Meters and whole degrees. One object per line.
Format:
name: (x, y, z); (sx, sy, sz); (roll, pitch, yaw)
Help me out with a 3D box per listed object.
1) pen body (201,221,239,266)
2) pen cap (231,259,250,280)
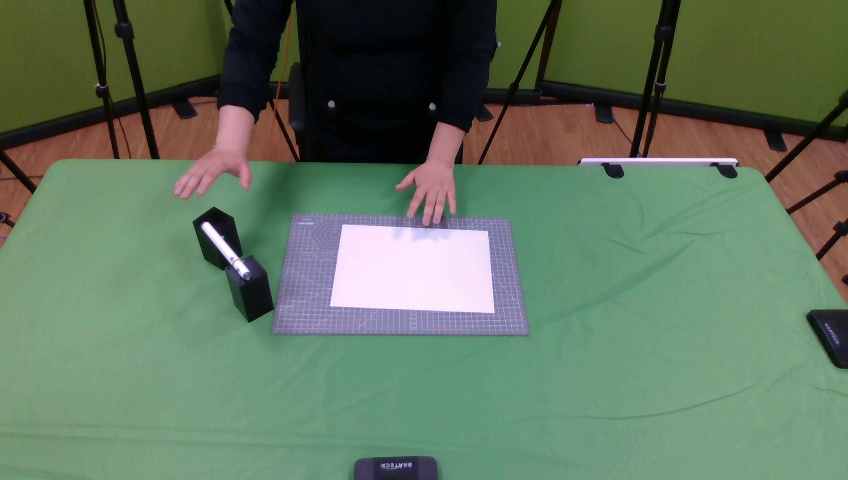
pen body: (-0.338, 0.013, 1.024); (0.017, 0.017, 0.143); (-28, 53, -28)
pen cap: (-0.299, 0.048, 0.991); (0.017, 0.017, 0.038); (-29, 55, -28)
